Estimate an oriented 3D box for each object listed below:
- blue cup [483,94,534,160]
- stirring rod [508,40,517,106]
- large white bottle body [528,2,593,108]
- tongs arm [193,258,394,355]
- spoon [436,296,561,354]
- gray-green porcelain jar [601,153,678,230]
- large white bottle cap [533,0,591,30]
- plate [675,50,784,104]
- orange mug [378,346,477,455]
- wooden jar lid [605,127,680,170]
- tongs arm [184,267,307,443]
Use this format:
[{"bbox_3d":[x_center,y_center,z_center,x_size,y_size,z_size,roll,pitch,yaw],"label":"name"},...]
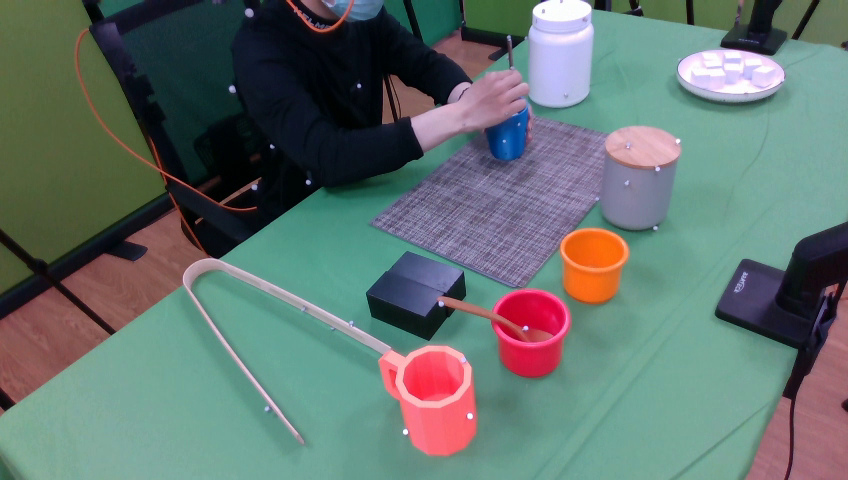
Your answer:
[{"bbox_3d":[0.154,-0.207,1.130,0.092,0.100,0.092,-4,39,3],"label":"blue cup"},{"bbox_3d":[0.160,-0.271,1.083,0.006,0.177,0.014,1,38,16],"label":"stirring rod"},{"bbox_3d":[0.283,-0.386,1.259,0.130,0.185,0.130,-5,41,4],"label":"large white bottle body"},{"bbox_3d":[-0.204,0.099,0.881,0.382,0.027,0.051,23,55,32],"label":"tongs arm"},{"bbox_3d":[0.095,0.102,0.750,0.195,0.021,0.041,28,30,-28],"label":"spoon"},{"bbox_3d":[0.334,-0.087,0.949,0.106,0.127,0.105,-4,40,4],"label":"gray-green porcelain jar"},{"bbox_3d":[0.274,-0.449,1.204,0.115,0.018,0.114,-4,41,4],"label":"large white bottle cap"},{"bbox_3d":[0.632,-0.336,1.262,0.207,0.039,0.206,-4,41,4],"label":"plate"},{"bbox_3d":[0.002,0.179,0.708,0.125,0.101,0.083,25,50,27],"label":"orange mug"},{"bbox_3d":[0.327,-0.134,0.909,0.108,0.021,0.108,-2,43,2],"label":"wooden jar lid"},{"bbox_3d":[-0.259,0.147,0.843,0.028,0.028,0.384,-37,48,-18],"label":"tongs arm"}]
